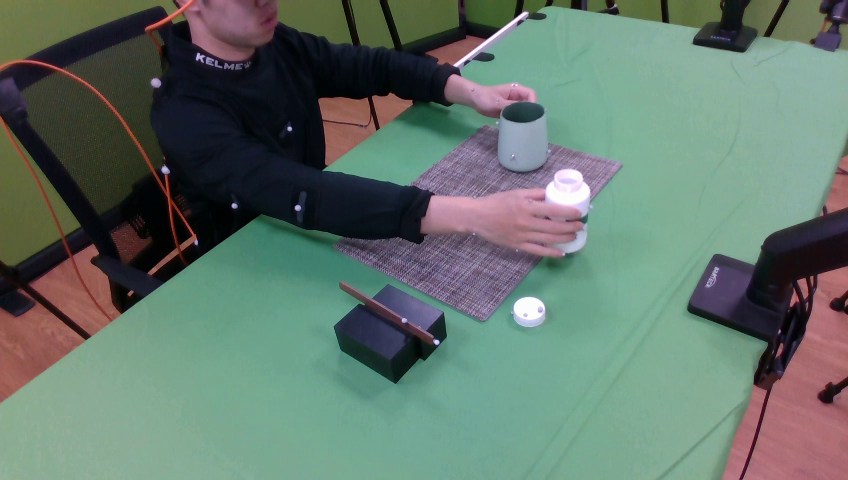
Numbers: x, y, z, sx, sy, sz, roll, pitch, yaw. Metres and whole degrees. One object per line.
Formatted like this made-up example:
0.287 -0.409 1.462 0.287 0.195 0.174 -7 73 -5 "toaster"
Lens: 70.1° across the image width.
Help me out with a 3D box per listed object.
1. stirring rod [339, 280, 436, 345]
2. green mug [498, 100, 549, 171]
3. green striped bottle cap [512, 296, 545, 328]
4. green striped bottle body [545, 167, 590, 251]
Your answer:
-0.052 0.093 0.795 0.174 0.014 0.006 27 47 33 "stirring rod"
0.182 -0.197 1.101 0.092 0.105 0.125 3 41 12 "green mug"
0.145 0.099 0.837 0.044 0.020 0.044 -2 45 3 "green striped bottle cap"
0.207 -0.046 0.878 0.063 0.120 0.063 -5 41 5 "green striped bottle body"
